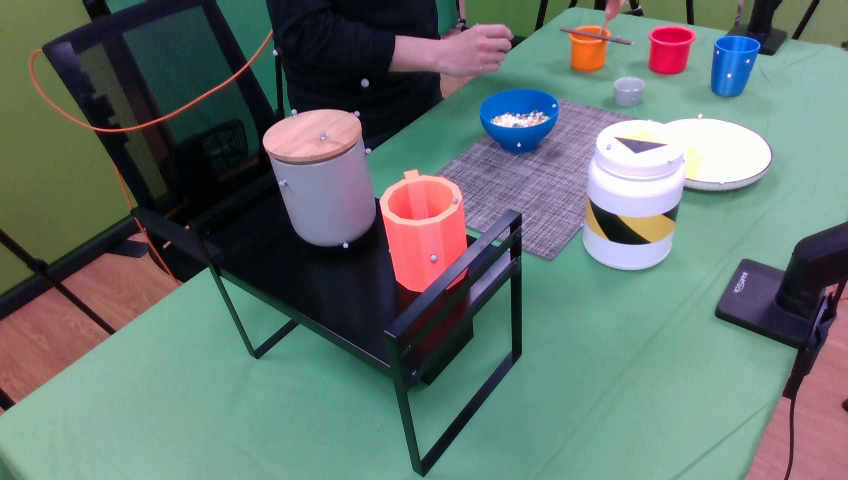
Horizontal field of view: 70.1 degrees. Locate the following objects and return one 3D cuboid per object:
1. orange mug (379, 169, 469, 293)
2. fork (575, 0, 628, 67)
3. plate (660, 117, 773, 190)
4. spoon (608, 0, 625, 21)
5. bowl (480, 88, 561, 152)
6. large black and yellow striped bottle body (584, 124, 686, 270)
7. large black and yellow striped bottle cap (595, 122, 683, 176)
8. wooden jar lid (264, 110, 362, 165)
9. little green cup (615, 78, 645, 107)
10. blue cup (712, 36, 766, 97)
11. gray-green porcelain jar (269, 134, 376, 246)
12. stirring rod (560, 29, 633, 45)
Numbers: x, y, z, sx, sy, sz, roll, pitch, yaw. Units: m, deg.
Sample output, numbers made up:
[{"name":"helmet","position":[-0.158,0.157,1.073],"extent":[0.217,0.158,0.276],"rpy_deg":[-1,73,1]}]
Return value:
[{"name":"orange mug","position":[-0.002,-0.019,0.665],"extent":[0.083,0.101,0.125],"rpy_deg":[-12,45,-4]},{"name":"fork","position":[0.413,-0.481,1.377],"extent":[0.207,0.019,0.028],"rpy_deg":[-56,43,12]},{"name":"plate","position":[0.495,-0.148,1.063],"extent":[0.209,0.038,0.208],"rpy_deg":[-5,40,4]},{"name":"spoon","position":[0.394,-0.524,1.178],"extent":[0.022,0.194,0.041],"rpy_deg":[-12,45,-14]},{"name":"bowl","position":[0.185,-0.222,1.160],"extent":[0.151,0.077,0.150],"rpy_deg":[-4,40,4]},{"name":"large black and yellow striped bottle body","position":[0.304,-0.063,0.880],"extent":[0.131,0.185,0.130],"rpy_deg":[-5,41,5]},{"name":"large black and yellow striped bottle cap","position":[0.293,-0.126,0.826],"extent":[0.115,0.019,0.114],"rpy_deg":[-3,40,3]},{"name":"wooden jar lid","position":[-0.122,-0.112,0.673],"extent":[0.108,0.021,0.108],"rpy_deg":[-4,37,4]},{"name":"little green cup","position":[0.426,-0.306,1.257],"extent":[0.061,0.039,0.061],"rpy_deg":[-4,40,4]},{"name":"blue cup","position":[0.627,-0.350,1.227],"extent":[0.092,0.100,0.092],"rpy_deg":[-4,39,4]},{"name":"gray-green porcelain jar","position":[-0.115,-0.064,0.715],"extent":[0.106,0.127,0.105],"rpy_deg":[-4,40,4]},{"name":"stirring rod","position":[0.381,-0.452,1.345],"extent":[0.174,0.006,0.014],"rpy_deg":[26,50,33]}]
